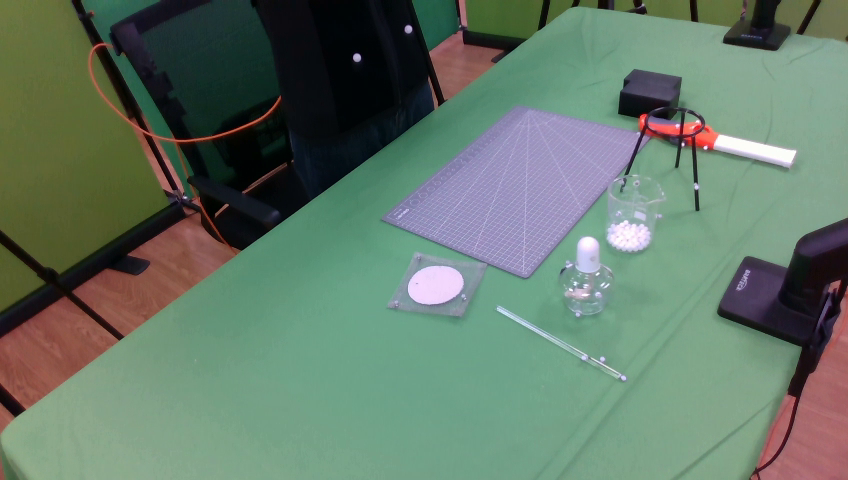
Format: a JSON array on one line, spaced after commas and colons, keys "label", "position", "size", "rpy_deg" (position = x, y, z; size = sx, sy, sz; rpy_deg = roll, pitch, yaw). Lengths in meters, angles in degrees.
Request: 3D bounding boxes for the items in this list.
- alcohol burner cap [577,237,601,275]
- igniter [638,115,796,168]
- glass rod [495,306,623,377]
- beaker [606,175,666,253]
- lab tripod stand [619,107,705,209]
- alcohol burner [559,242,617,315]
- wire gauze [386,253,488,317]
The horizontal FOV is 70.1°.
[{"label": "alcohol burner cap", "position": [0.216, 0.018, 0.793], "size": [0.034, 0.048, 0.033], "rpy_deg": [-8, 35, 6]}, {"label": "igniter", "position": [0.517, -0.181, 1.093], "size": [0.274, 0.025, 0.057], "rpy_deg": [23, 65, 32]}, {"label": "glass rod", "position": [0.174, 0.131, 0.804], "size": [0.198, 0.008, 0.008], "rpy_deg": [27, 53, 35]}, {"label": "beaker", "position": [0.314, -0.036, 0.906], "size": [0.083, 0.101, 0.074], "rpy_deg": [15, 46, 25]}, {"label": "lab tripod stand", "position": [0.400, -0.136, 0.981], "size": [0.148, 0.132, 0.147], "rpy_deg": [-4, 41, 4]}, {"label": "alcohol burner", "position": [0.222, 0.045, 0.816], "size": [0.078, 0.119, 0.077], "rpy_deg": [-4, 42, 4]}, {"label": "wire gauze", "position": [0.021, 0.067, 0.910], "size": [0.121, 0.011, 0.125], "rpy_deg": [9, 41, 20]}]
